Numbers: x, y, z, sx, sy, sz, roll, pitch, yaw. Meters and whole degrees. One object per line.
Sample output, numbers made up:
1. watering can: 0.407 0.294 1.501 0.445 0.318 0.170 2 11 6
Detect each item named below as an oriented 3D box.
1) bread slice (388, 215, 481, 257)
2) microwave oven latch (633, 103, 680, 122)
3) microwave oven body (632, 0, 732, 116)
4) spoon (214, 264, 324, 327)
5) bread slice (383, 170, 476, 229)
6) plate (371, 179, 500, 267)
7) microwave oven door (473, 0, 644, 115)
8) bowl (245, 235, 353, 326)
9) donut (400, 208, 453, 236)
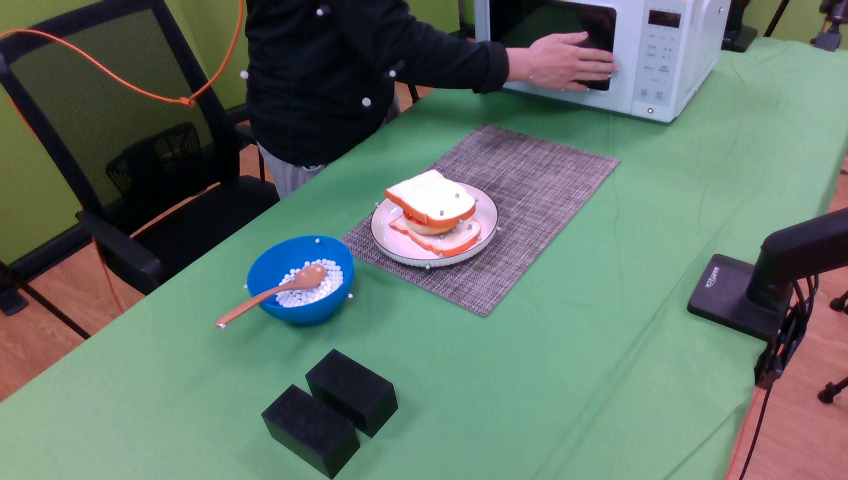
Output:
1. bread slice: 0.025 -0.023 0.973 0.107 0.018 0.133 -36 49 -28
2. microwave oven latch: 0.443 -0.249 1.158 0.078 0.029 0.030 21 49 30
3. microwave oven body: 0.377 -0.463 1.267 0.438 0.261 0.327 21 49 30
4. spoon: -0.207 0.073 0.821 0.041 0.021 0.195 23 27 26
5. bread slice: 0.017 -0.064 0.935 0.105 0.019 0.130 -27 45 -31
6. plate: 0.020 -0.025 0.977 0.207 0.039 0.206 -4 40 4
7. microwave oven door: 0.257 -0.396 1.199 0.353 0.245 0.039 21 48 29
8. bowl: -0.171 0.069 0.868 0.151 0.077 0.150 -4 40 4
9. donut: 0.011 -0.046 0.956 0.099 0.048 0.098 -4 41 4
